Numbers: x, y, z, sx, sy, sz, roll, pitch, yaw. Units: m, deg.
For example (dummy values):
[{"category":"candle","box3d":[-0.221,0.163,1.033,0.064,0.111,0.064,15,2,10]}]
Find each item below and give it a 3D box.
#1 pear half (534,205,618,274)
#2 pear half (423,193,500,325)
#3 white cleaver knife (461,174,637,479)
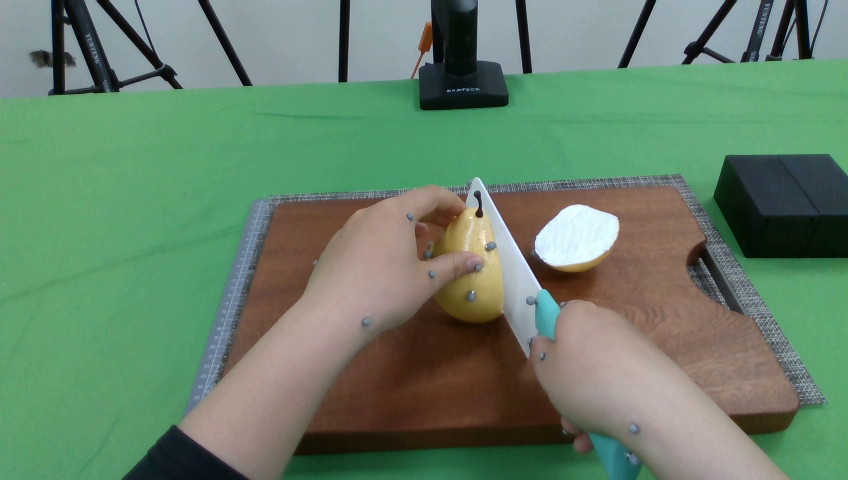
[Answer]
[{"category":"pear half","box3d":[0.130,0.004,0.515,0.070,0.031,0.087,-7,30,17]},{"category":"pear half","box3d":[0.026,0.012,0.452,0.056,0.111,0.075,-11,36,-10]},{"category":"white cleaver knife","box3d":[0.075,0.049,0.441,0.021,0.066,0.283,-5,40,-14]}]
